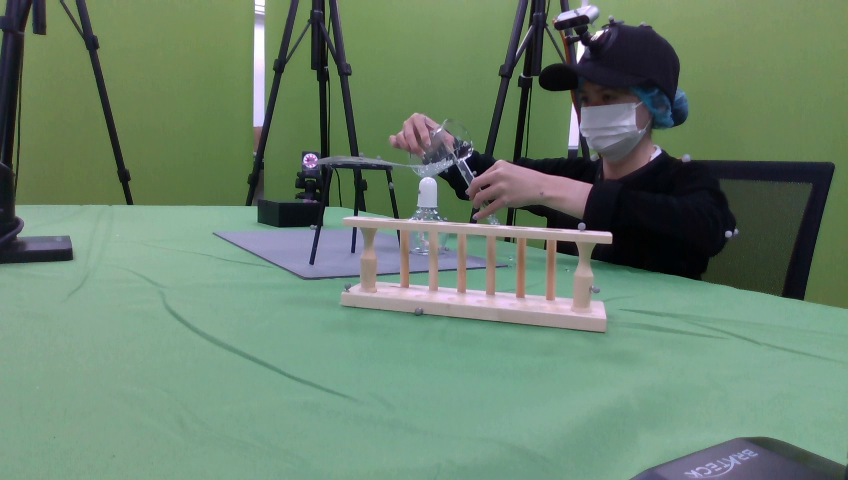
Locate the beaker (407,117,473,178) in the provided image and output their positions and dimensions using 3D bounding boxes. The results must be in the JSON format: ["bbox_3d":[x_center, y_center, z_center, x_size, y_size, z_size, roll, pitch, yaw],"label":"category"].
[{"bbox_3d":[0.026,-0.154,1.055,0.074,0.084,0.100,9,-25,-42],"label":"beaker"}]

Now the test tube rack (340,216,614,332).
[{"bbox_3d":[0.048,0.026,0.568,0.242,0.085,0.067,4,8,13],"label":"test tube rack"}]

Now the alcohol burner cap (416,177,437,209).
[{"bbox_3d":[0.005,-0.072,0.914,0.034,0.048,0.034,3,10,0],"label":"alcohol burner cap"}]

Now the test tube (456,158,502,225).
[{"bbox_3d":[0.089,-0.076,0.978,0.017,0.017,0.149,-3,53,-35],"label":"test tube"}]

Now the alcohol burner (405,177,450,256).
[{"bbox_3d":[0.004,-0.036,0.917,0.078,0.119,0.078,4,6,0],"label":"alcohol burner"}]

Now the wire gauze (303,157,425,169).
[{"bbox_3d":[-0.082,-0.102,0.799,0.126,0.011,0.121,-1,7,-30],"label":"wire gauze"}]

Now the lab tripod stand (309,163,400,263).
[{"bbox_3d":[-0.091,-0.037,0.813,0.148,0.131,0.148,1,6,0],"label":"lab tripod stand"}]
